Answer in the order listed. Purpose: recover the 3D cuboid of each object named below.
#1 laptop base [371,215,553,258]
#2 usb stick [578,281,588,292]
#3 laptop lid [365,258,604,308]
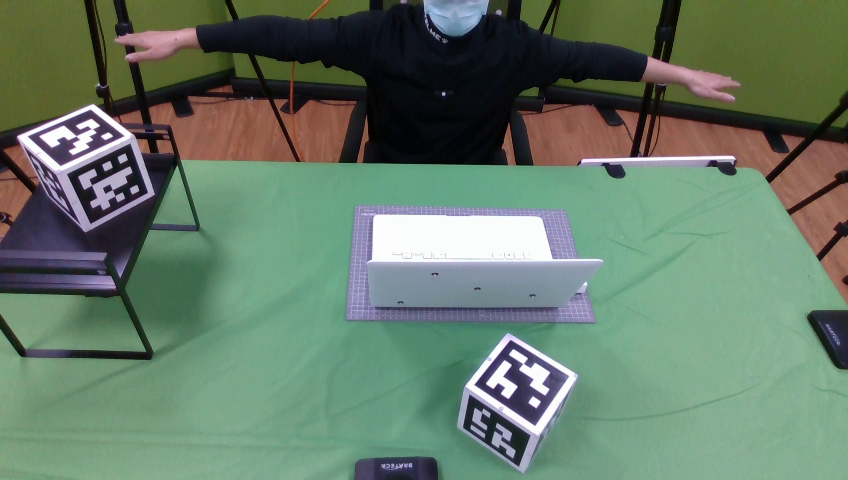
[{"bbox_3d":[0.075,0.037,1.167,0.355,0.023,0.234,0,43,-4],"label":"laptop base"},{"bbox_3d":[0.271,0.082,1.119,0.059,0.027,0.021,-2,48,-1],"label":"usb stick"},{"bbox_3d":[0.085,0.074,0.978,0.357,0.242,0.013,1,67,-5],"label":"laptop lid"}]
